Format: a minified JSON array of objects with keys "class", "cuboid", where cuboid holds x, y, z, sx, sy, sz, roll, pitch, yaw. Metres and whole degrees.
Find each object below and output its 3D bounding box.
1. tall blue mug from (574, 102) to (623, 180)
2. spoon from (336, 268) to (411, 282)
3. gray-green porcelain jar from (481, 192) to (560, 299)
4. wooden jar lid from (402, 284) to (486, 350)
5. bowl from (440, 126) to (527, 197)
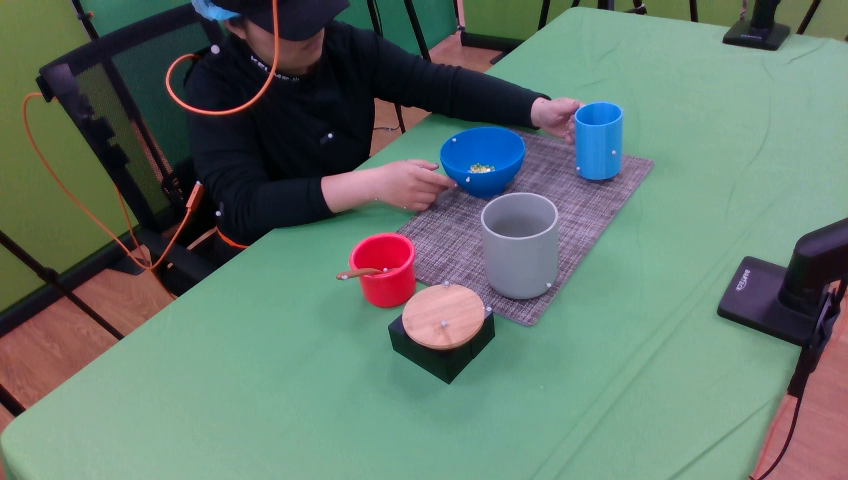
[{"class":"tall blue mug","cuboid":[0.287,-0.173,1.037,0.106,0.108,0.078,26,55,37]},{"class":"spoon","cuboid":[-0.071,0.047,0.850,0.041,0.195,0.021,19,93,24]},{"class":"gray-green porcelain jar","cuboid":[0.138,0.013,0.858,0.106,0.127,0.105,-6,40,5]},{"class":"wooden jar lid","cuboid":[0.026,0.101,0.786,0.108,0.021,0.108,-5,39,4]},{"class":"bowl","cuboid":[0.107,-0.129,1.070,0.151,0.077,0.150,-5,40,5]}]
